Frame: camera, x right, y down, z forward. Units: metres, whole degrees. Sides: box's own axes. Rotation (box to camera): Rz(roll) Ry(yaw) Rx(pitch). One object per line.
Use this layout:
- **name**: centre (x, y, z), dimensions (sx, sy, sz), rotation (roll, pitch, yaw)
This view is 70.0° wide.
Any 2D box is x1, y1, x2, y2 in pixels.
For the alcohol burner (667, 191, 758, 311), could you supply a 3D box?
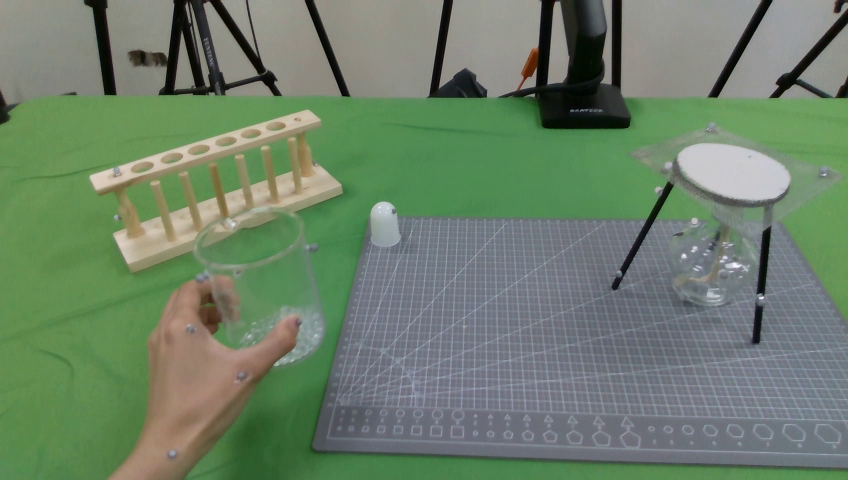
- **alcohol burner**: centre (0.262, 0.006, 0.541), dimensions (0.078, 0.120, 0.077), rotation (-1, 40, 1)

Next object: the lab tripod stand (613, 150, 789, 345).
- **lab tripod stand**: centre (0.254, 0.001, 0.531), dimensions (0.148, 0.132, 0.147), rotation (0, 38, 0)

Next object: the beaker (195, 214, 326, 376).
- **beaker**: centre (-0.114, 0.041, 0.438), dimensions (0.074, 0.101, 0.083), rotation (-26, 38, -28)

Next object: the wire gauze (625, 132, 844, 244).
- **wire gauze**: centre (0.247, -0.052, 0.489), dimensions (0.122, 0.011, 0.123), rotation (-22, 43, -25)

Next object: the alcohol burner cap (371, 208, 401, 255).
- **alcohol burner cap**: centre (-0.041, -0.012, 0.638), dimensions (0.034, 0.048, 0.033), rotation (-1, 38, 1)

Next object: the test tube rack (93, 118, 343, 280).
- **test tube rack**: centre (-0.216, -0.052, 0.668), dimensions (0.243, 0.086, 0.066), rotation (-24, 42, -26)
